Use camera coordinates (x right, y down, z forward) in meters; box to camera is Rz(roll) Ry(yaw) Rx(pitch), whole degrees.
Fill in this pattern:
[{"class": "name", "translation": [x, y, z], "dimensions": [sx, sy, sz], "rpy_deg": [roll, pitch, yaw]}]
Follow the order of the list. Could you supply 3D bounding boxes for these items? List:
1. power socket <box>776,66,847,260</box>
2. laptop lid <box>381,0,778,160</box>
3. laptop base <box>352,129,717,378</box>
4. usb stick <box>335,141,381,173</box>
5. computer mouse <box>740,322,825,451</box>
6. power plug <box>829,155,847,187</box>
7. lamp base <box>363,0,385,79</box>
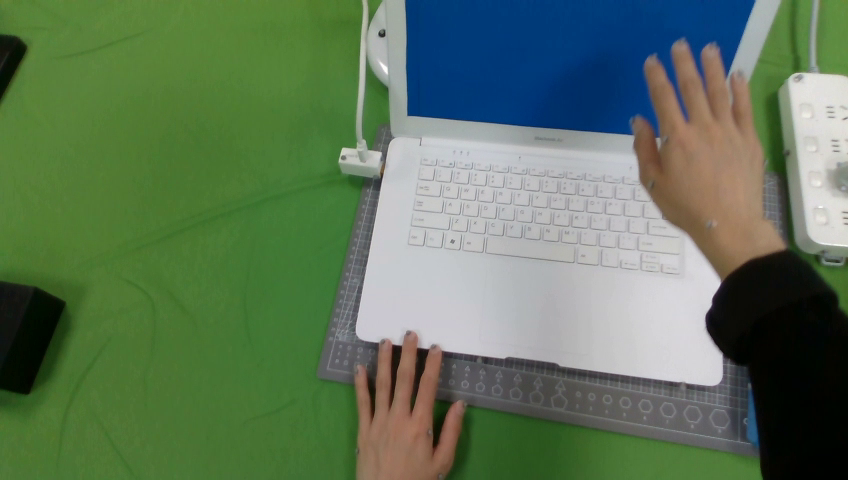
[{"class": "power socket", "translation": [0.422, -0.089, 0.642], "dimensions": [0.072, 0.033, 0.225], "rpy_deg": [6, 69, 4]}, {"class": "laptop lid", "translation": [0.133, -0.186, 0.584], "dimensions": [0.356, 0.244, 0.013], "rpy_deg": [5, 45, 6]}, {"class": "laptop base", "translation": [0.117, 0.006, 0.627], "dimensions": [0.354, 0.023, 0.234], "rpy_deg": [6, 72, 5]}, {"class": "usb stick", "translation": [-0.065, -0.089, 0.659], "dimensions": [0.059, 0.027, 0.021], "rpy_deg": [10, 64, 4]}, {"class": "computer mouse", "translation": [0.328, 0.131, 0.555], "dimensions": [0.062, 0.041, 0.116], "rpy_deg": [11, 65, 9]}, {"class": "power plug", "translation": [0.446, -0.065, 0.607], "dimensions": [0.072, 0.053, 0.035], "rpy_deg": [16, 69, 7]}, {"class": "lamp base", "translation": [-0.004, -0.284, 0.660], "dimensions": [0.160, 0.181, 0.177], "rpy_deg": [-29, 67, -9]}]
